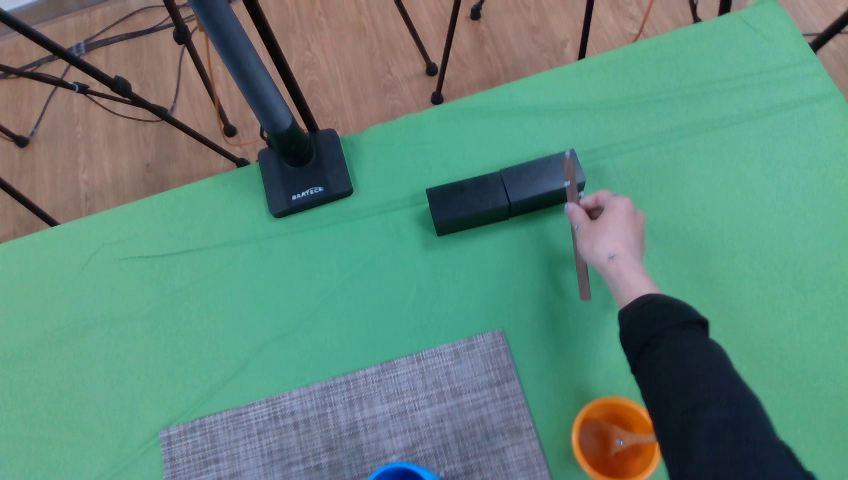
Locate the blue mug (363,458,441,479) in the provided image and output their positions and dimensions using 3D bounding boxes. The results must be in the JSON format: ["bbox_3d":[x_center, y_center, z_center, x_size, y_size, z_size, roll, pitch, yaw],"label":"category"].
[{"bbox_3d":[-0.027,0.295,0.647,0.082,0.106,0.116,20,73,14],"label":"blue mug"}]

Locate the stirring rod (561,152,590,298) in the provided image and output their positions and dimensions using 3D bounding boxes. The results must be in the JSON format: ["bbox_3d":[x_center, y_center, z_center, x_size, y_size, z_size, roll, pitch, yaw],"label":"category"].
[{"bbox_3d":[0.181,-0.018,0.723,0.014,0.006,0.176,-5,94,44],"label":"stirring rod"}]

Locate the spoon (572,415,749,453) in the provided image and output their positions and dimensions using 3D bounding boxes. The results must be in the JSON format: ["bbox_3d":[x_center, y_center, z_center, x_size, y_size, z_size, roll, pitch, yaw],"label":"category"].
[{"bbox_3d":[0.237,0.203,0.631,0.022,0.193,0.041,19,66,-33],"label":"spoon"}]
